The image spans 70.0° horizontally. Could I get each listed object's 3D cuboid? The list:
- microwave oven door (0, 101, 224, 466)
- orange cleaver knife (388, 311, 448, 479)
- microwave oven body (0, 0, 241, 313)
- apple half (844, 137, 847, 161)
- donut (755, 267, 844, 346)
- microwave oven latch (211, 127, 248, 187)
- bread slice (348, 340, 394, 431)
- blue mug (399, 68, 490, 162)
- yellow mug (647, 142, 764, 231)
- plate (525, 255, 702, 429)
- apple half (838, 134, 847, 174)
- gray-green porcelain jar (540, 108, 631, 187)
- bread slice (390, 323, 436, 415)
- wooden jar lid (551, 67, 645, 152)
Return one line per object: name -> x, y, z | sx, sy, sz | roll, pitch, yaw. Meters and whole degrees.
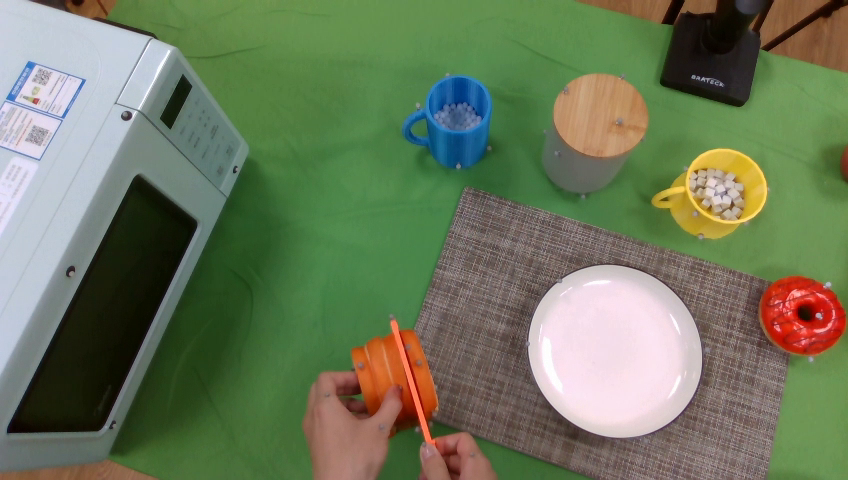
microwave oven door -> -0.343, 0.059, 0.654 | 0.039, 0.245, 0.354 | 18, 76, 7
orange cleaver knife -> -0.006, 0.169, 0.625 | 0.012, 0.077, 0.210 | -17, 75, -6
microwave oven body -> -0.465, -0.023, 0.685 | 0.325, 0.261, 0.440 | 18, 77, 6
apple half -> 0.592, -0.117, 0.777 | 0.053, 0.075, 0.080 | -12, 70, -7
donut -> 0.456, 0.081, 0.739 | 0.099, 0.048, 0.098 | 0, 76, 2
microwave oven latch -> -0.263, -0.113, 0.803 | 0.030, 0.029, 0.079 | 22, 77, 7
bread slice -> -0.060, 0.163, 0.693 | 0.018, 0.135, 0.106 | -20, 72, -6
blue mug -> 0.025, -0.159, 0.790 | 0.116, 0.106, 0.082 | -7, 74, 0
yellow mug -> 0.354, -0.066, 0.775 | 0.131, 0.064, 0.099 | -5, 75, 1
plate -> 0.226, 0.122, 0.739 | 0.207, 0.039, 0.206 | 0, 75, 2
apple half -> 0.555, -0.107, 0.774 | 0.033, 0.081, 0.081 | -13, 74, -6
gray-green porcelain jar -> 0.204, -0.132, 0.767 | 0.106, 0.127, 0.105 | 0, 74, 2
bread slice -> -0.013, 0.147, 0.693 | 0.019, 0.132, 0.104 | -17, 77, -13
wooden jar lid -> 0.202, -0.150, 0.707 | 0.108, 0.021, 0.107 | 0, 73, 2
